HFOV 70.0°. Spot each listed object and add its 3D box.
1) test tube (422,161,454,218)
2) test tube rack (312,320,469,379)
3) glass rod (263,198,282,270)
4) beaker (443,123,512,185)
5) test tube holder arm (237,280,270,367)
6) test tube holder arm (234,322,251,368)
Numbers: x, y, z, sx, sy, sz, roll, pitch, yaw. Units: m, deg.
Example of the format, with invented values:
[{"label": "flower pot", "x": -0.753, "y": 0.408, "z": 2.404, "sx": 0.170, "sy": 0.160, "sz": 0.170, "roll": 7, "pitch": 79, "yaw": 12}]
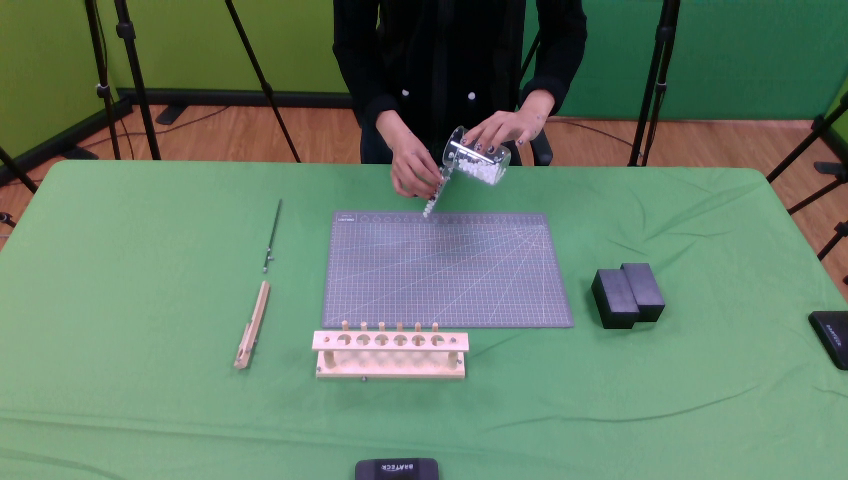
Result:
[{"label": "test tube", "x": 0.024, "y": -0.091, "z": 1.135, "sx": 0.017, "sy": 0.150, "sz": 0.017, "roll": 12, "pitch": 49, "yaw": -14}, {"label": "test tube rack", "x": -0.054, "y": 0.173, "z": 0.984, "sx": 0.242, "sy": 0.085, "sz": 0.066, "roll": 1, "pitch": 46, "yaw": -3}, {"label": "glass rod", "x": -0.299, "y": -0.017, "z": 1.202, "sx": 0.008, "sy": 0.008, "sz": 0.198, "roll": 1, "pitch": 46, "yaw": -2}, {"label": "beaker", "x": 0.092, "y": -0.142, "z": 1.041, "sx": 0.100, "sy": 0.084, "sz": 0.074, "roll": 28, "pitch": 45, "yaw": 16}, {"label": "test tube holder arm", "x": -0.291, "y": 0.140, "z": 1.042, "sx": 0.013, "sy": 0.015, "sz": 0.177, "roll": -16, "pitch": 42, "yaw": 21}, {"label": "test tube holder arm", "x": -0.299, "y": 0.173, "z": 1.013, "sx": 0.010, "sy": 0.015, "sz": 0.087, "roll": -16, "pitch": 42, "yaw": 22}]
